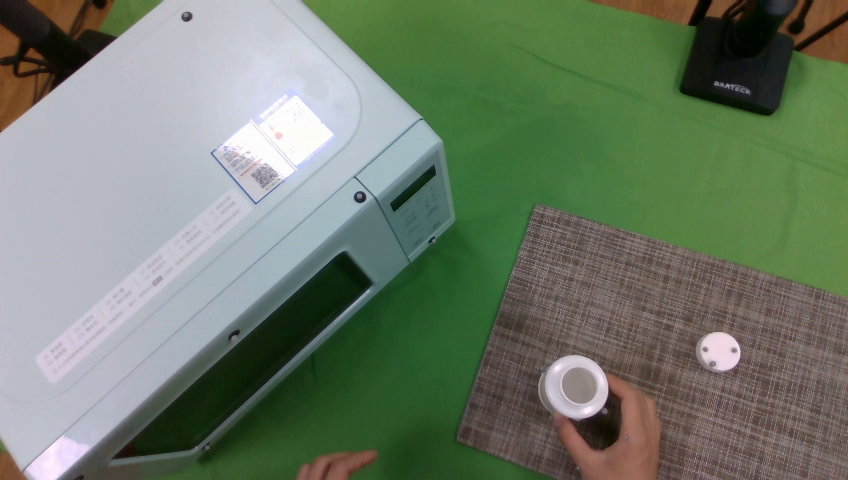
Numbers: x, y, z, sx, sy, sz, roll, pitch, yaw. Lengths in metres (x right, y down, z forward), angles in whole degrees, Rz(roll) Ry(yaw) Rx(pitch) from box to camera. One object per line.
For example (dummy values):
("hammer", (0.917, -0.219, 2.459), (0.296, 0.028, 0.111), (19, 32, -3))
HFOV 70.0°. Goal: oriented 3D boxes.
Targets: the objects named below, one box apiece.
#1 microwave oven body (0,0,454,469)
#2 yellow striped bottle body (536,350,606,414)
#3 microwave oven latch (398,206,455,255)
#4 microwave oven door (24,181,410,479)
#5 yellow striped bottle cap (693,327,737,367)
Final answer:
("microwave oven body", (-0.237, -0.026, 0.652), (0.441, 0.261, 0.324), (-43, 76, -5))
("yellow striped bottle body", (0.154, 0.151, 0.639), (0.063, 0.121, 0.062), (-1, 74, 5))
("microwave oven latch", (0.002, -0.018, 0.727), (0.079, 0.029, 0.030), (-41, 76, -5))
("microwave oven door", (-0.170, 0.101, 0.606), (0.355, 0.245, 0.039), (-43, 74, -6))
("yellow striped bottle cap", (0.330, 0.121, 0.686), (0.044, 0.019, 0.044), (-2, 76, 7))
